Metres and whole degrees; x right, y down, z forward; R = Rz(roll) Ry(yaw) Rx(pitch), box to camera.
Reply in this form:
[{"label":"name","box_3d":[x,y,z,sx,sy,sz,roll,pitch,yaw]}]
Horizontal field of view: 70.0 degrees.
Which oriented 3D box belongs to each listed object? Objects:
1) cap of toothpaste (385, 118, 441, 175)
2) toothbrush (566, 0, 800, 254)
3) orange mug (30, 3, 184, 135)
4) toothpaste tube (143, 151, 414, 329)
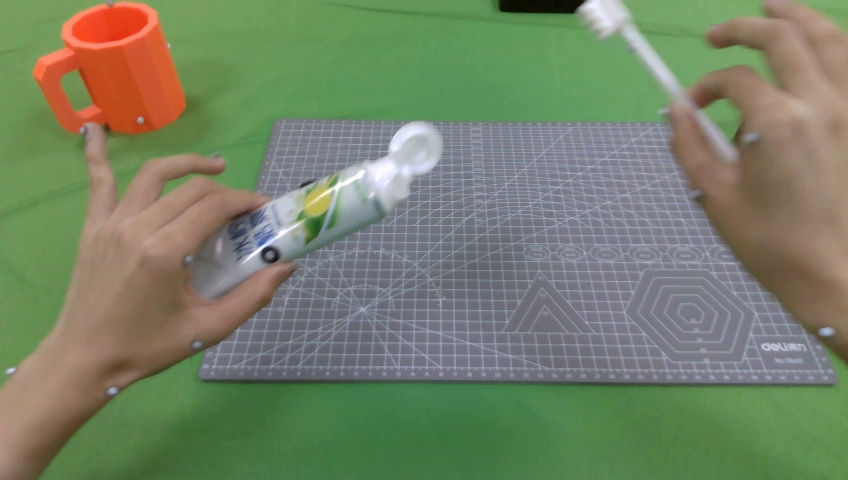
[{"label":"cap of toothpaste","box_3d":[-0.006,-0.055,0.365,0.037,0.037,0.011,-16,28,-14]},{"label":"toothbrush","box_3d":[0.139,-0.058,0.319,0.182,0.014,0.016,46,75,-7]},{"label":"orange mug","box_3d":[-0.307,-0.160,0.590,0.083,0.101,0.126,34,52,26]},{"label":"toothpaste tube","box_3d":[-0.082,-0.008,0.346,0.165,0.035,0.054,-26,53,-3]}]
